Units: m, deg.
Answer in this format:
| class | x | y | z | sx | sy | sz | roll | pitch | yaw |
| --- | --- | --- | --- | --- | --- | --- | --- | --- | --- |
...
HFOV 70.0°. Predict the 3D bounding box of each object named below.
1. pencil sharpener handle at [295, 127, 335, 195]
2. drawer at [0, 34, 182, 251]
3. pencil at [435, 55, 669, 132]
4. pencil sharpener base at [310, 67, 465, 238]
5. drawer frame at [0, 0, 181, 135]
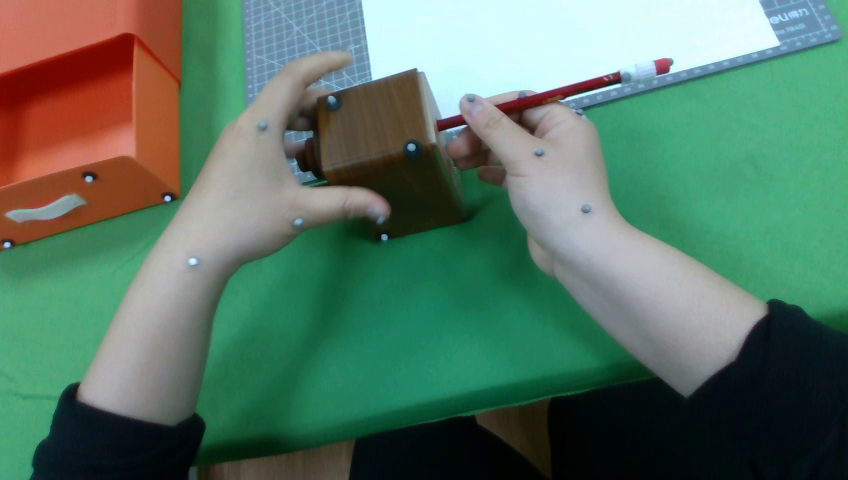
| class | x | y | z | sx | sy | sz | roll | pitch | yaw |
| --- | --- | --- | --- | --- | --- | --- | --- | --- | --- |
| pencil sharpener handle | -0.074 | -0.047 | 0.403 | 0.030 | 0.068 | 0.035 | -14 | 72 | 9 |
| drawer | -0.314 | -0.112 | 0.522 | 0.194 | 0.074 | 0.210 | -15 | 64 | 9 |
| pencil | 0.050 | -0.081 | 0.368 | 0.194 | 0.012 | 0.012 | -14 | 65 | 9 |
| pencil sharpener base | -0.022 | -0.052 | 0.405 | 0.076 | 0.108 | 0.061 | -14 | 65 | 9 |
| drawer frame | -0.335 | -0.217 | 0.569 | 0.201 | 0.083 | 0.211 | -15 | 64 | 8 |
